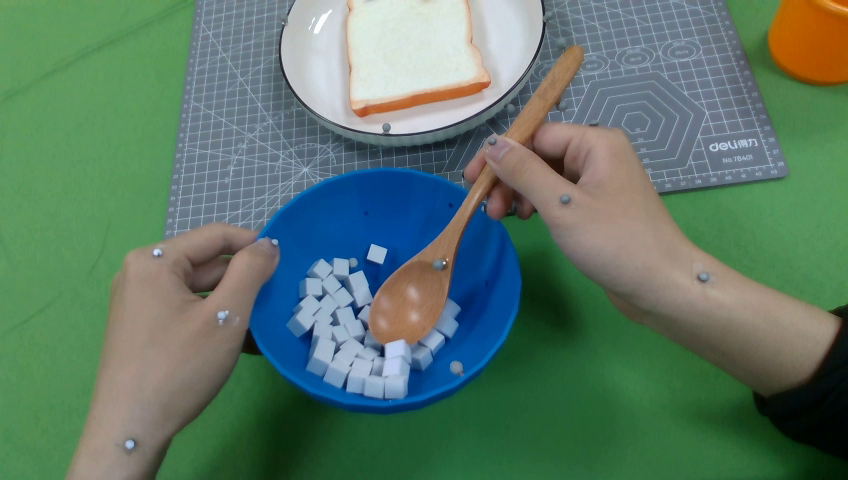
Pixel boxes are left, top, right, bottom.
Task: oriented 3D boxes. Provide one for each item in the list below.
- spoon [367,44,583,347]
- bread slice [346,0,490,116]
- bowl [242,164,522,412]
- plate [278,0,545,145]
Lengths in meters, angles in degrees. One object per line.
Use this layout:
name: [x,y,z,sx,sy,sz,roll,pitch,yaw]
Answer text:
spoon: [0.029,-0.022,0.332,0.041,0.022,0.194,39,103,24]
bread slice: [-0.013,-0.163,0.488,0.107,0.018,0.133,-14,66,3]
bowl: [-0.022,0.037,0.357,0.151,0.077,0.150,1,56,-1]
plate: [-0.010,-0.159,0.483,0.209,0.038,0.207,-4,65,8]
